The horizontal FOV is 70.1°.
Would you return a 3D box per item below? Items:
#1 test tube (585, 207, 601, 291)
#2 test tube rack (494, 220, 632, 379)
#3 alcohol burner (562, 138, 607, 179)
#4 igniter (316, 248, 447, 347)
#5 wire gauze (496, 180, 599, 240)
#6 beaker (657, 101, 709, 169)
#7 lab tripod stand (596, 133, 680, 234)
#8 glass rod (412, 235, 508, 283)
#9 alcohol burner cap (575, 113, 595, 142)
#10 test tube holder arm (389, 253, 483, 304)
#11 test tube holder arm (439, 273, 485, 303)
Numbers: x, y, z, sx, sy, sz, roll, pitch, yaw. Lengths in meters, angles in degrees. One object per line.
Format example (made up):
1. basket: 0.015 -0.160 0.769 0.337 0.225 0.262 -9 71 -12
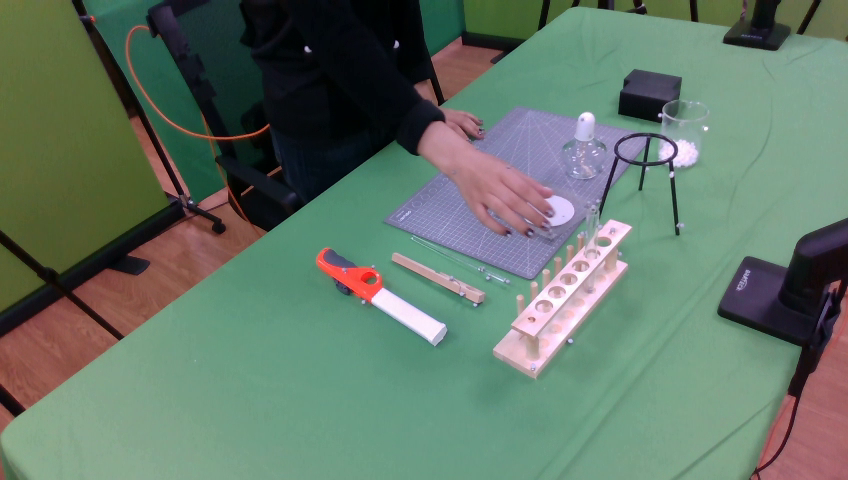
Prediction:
1. test tube: 0.222 0.016 0.797 0.017 0.151 0.017 -6 44 7
2. test tube rack: 0.191 0.068 0.818 0.066 0.085 0.243 26 51 35
3. alcohol burner: 0.280 -0.167 1.052 0.078 0.119 0.077 -5 38 4
4. igniter: -0.074 0.078 0.902 0.274 0.025 0.057 29 63 36
5. wire gauze: 0.206 -0.050 1.012 0.125 0.011 0.120 -34 45 -26
6. beaker: 0.449 -0.183 1.054 0.073 0.101 0.084 15 45 27
7. lab tripod stand: 0.338 -0.090 0.940 0.148 0.132 0.147 -7 39 6
8. glass rod: 0.051 0.028 0.951 0.198 0.008 0.008 25 52 37
9. alcohol burner cap: 0.277 -0.194 1.028 0.034 0.048 0.033 -2 45 3
10. test tube holder arm: 0.015 0.056 0.915 0.177 0.015 0.013 23 13 32
11. test tube holder arm: 0.052 0.071 0.896 0.087 0.015 0.010 24 13 33
